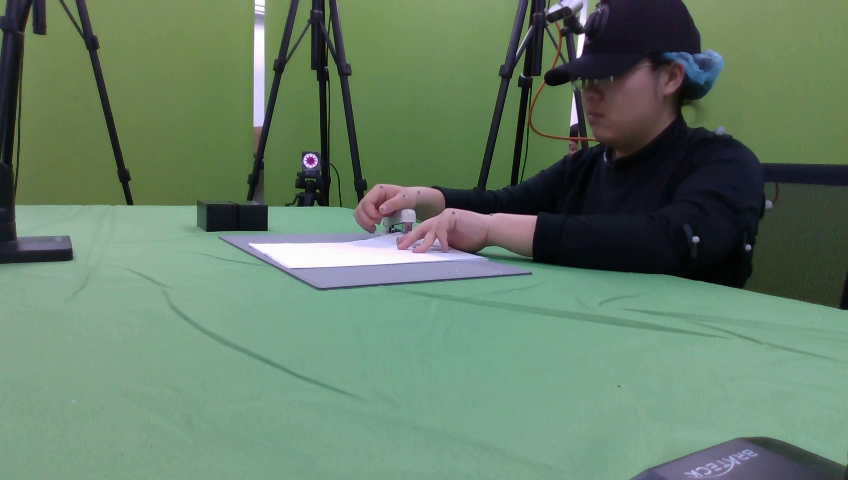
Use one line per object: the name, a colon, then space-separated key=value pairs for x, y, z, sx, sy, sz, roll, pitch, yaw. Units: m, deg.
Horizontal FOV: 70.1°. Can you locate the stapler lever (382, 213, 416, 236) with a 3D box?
stapler lever: x=-0.045 y=-0.033 z=1.071 sx=0.027 sy=0.040 sz=0.117 roll=2 pitch=9 yaw=-22

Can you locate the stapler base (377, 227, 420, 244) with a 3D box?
stapler base: x=-0.045 y=-0.012 z=1.073 sx=0.041 sy=0.024 sz=0.130 roll=2 pitch=5 yaw=-22
